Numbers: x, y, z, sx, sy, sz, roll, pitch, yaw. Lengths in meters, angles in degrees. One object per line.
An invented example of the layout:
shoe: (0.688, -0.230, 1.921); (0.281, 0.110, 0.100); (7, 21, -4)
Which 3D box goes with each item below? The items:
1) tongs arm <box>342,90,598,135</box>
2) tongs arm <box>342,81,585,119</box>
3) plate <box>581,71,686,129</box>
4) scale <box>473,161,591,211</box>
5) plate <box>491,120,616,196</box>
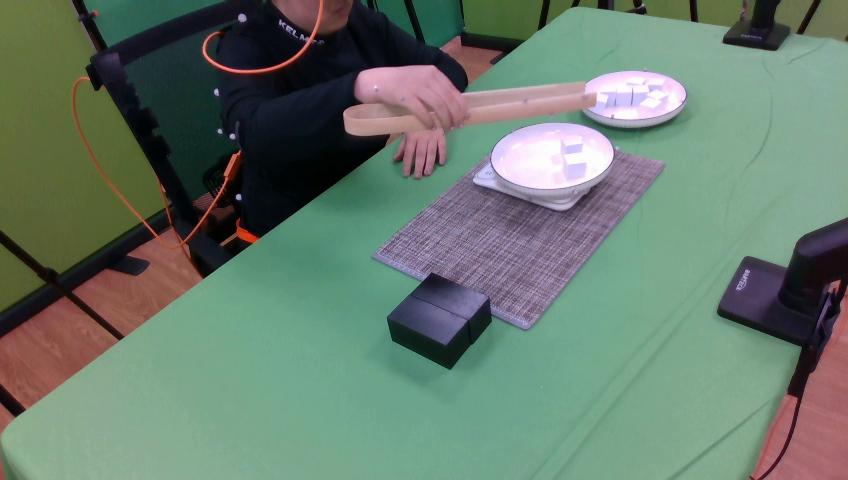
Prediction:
tongs arm: (0.073, -0.196, 0.902); (0.386, 0.026, 0.050); (-10, 37, -12)
tongs arm: (0.067, -0.212, 0.926); (0.389, 0.028, 0.028); (-9, 40, -10)
plate: (0.416, -0.279, 1.222); (0.209, 0.038, 0.208); (-5, 41, 5)
scale: (0.202, -0.121, 1.074); (0.199, 0.032, 0.149); (23, 49, 33)
plate: (0.220, -0.137, 1.038); (0.207, 0.039, 0.206); (-6, 41, 5)
